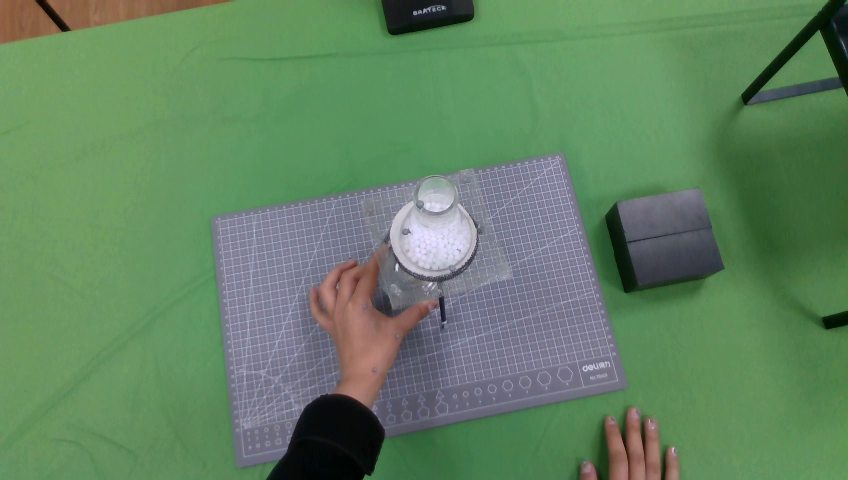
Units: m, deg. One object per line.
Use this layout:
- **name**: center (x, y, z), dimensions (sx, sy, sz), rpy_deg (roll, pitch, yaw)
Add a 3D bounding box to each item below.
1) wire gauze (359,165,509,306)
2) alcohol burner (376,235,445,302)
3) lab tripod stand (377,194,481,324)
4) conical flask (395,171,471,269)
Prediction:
- **wire gauze**: center (0.009, -0.006, 0.606), dimensions (0.125, 0.011, 0.121), rpy_deg (-15, 77, -7)
- **alcohol burner**: center (-0.015, 0.027, 0.671), dimensions (0.078, 0.119, 0.077), rpy_deg (0, 74, 0)
- **lab tripod stand**: center (0.012, 0.009, 0.669), dimensions (0.148, 0.132, 0.147), rpy_deg (0, 73, 1)
- **conical flask**: center (0.009, -0.023, 0.548), dimensions (0.075, 0.122, 0.075), rpy_deg (0, 74, 0)
